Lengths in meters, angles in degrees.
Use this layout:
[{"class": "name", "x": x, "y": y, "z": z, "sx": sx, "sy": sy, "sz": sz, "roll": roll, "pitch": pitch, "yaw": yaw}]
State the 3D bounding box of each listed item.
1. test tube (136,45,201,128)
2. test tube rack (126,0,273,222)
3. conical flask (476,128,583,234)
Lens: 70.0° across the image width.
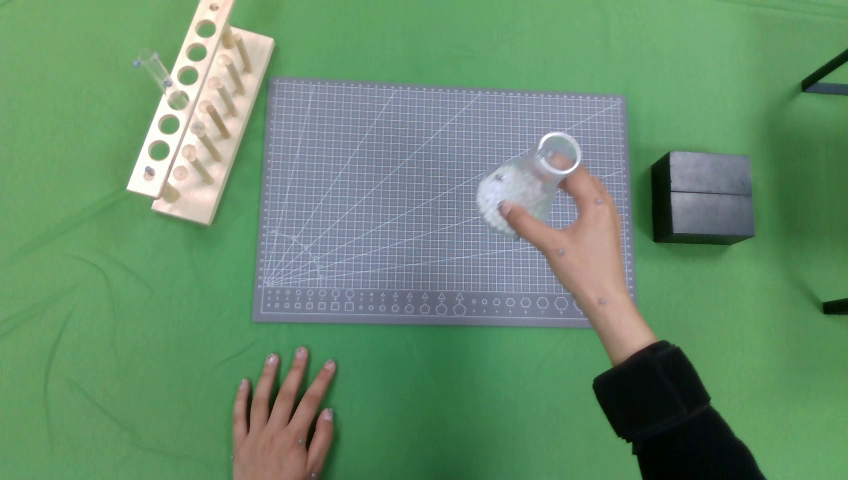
[{"class": "test tube", "x": -0.263, "y": -0.156, "z": 0.634, "sx": 0.017, "sy": 0.151, "sz": 0.017, "roll": 1, "pitch": 75, "yaw": -2}, {"class": "test tube rack", "x": -0.246, "y": -0.151, "z": 0.685, "sx": 0.067, "sy": 0.085, "sz": 0.241, "roll": 16, "pitch": 77, "yaw": -2}, {"class": "conical flask", "x": 0.096, "y": -0.055, "z": 0.526, "sx": 0.075, "sy": 0.122, "sz": 0.075, "roll": 3, "pitch": 75, "yaw": -11}]
